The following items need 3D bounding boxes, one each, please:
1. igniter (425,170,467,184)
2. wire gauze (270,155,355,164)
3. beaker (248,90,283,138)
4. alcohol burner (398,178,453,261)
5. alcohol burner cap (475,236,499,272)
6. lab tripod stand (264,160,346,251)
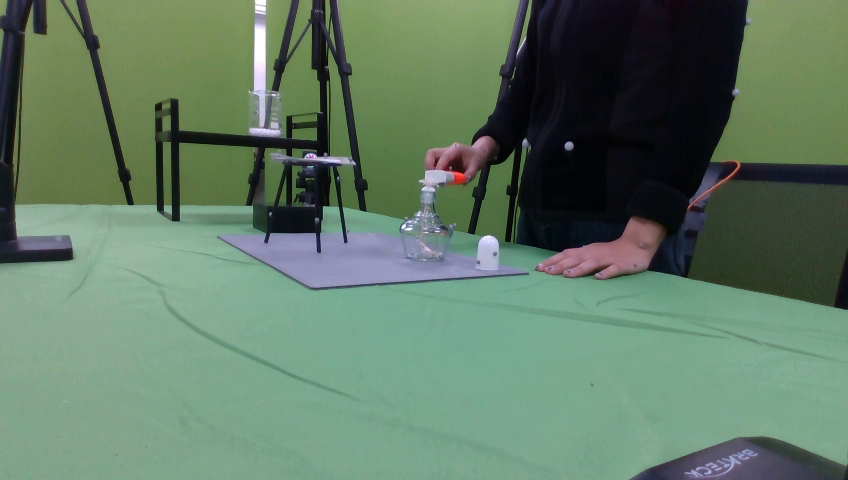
[{"bbox_3d":[0.039,-0.105,1.004,0.057,0.025,0.277,2,6,9],"label":"igniter"},{"bbox_3d":[-0.174,-0.123,0.925,0.125,0.011,0.121,0,8,-12],"label":"wire gauze"},{"bbox_3d":[-0.354,-0.278,1.340,0.074,0.100,0.084,6,9,26],"label":"beaker"},{"bbox_3d":[0.004,-0.029,0.860,0.078,0.119,0.078,4,7,0],"label":"alcohol burner"},{"bbox_3d":[0.084,0.018,0.799,0.034,0.048,0.034,2,6,0],"label":"alcohol burner cap"},{"bbox_3d":[-0.178,-0.057,0.930,0.148,0.131,0.148,1,8,0],"label":"lab tripod stand"}]
